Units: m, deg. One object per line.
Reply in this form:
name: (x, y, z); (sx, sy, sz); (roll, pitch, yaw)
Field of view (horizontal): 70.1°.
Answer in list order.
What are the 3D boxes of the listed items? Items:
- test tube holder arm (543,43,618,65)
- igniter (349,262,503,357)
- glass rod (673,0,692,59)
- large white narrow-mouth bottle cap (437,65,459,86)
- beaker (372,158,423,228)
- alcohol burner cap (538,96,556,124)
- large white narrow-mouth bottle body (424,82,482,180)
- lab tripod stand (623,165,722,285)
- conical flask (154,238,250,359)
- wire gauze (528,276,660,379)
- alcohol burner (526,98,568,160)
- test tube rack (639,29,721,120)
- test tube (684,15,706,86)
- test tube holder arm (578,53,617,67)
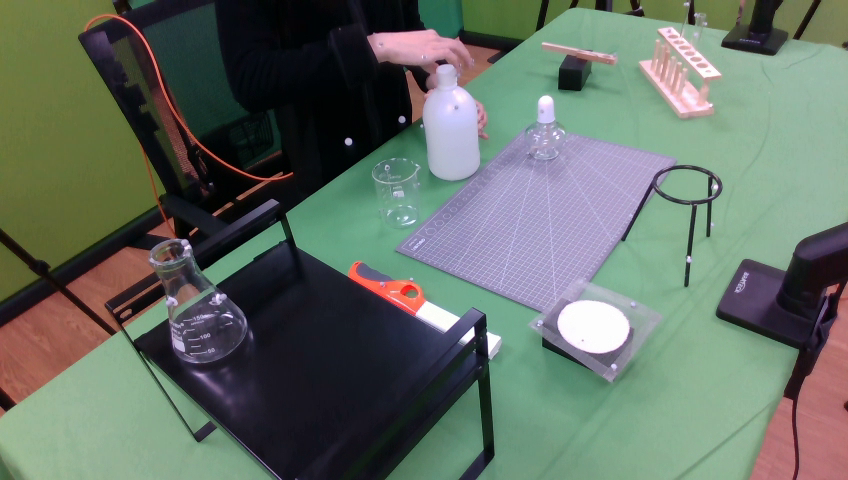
test tube holder arm: (0.345, -0.413, 1.341); (0.177, 0.015, 0.013); (25, 50, 31)
igniter: (-0.008, 0.093, 0.870); (0.274, 0.025, 0.057); (24, 60, 33)
glass rod: (0.537, -0.437, 1.258); (0.008, 0.200, 0.008); (0, 39, 1)
large white narrow-mouth bottle cap: (0.042, -0.280, 1.029); (0.038, 0.024, 0.037); (-4, 41, 4)
beaker: (-0.039, -0.079, 1.022); (0.084, 0.101, 0.073); (-16, 41, -11)
alcohol burner cap: (0.222, -0.237, 1.095); (0.034, 0.048, 0.033); (-7, 34, 5)
large white narrow-mouth bottle body: (0.051, -0.212, 1.091); (0.102, 0.195, 0.101); (-4, 41, 4)
lab tripod stand: (0.365, -0.030, 0.874); (0.148, 0.132, 0.147); (-6, 41, 6)
conical flask: (-0.225, 0.055, 0.597); (0.075, 0.122, 0.075); (-5, 41, 4)
wire gauze: (0.214, 0.103, 0.763); (0.124, 0.011, 0.122); (30, 52, 35)
alcohol burner: (0.228, -0.210, 1.118); (0.078, 0.119, 0.077); (-5, 43, 5)
test tube rack: (0.527, -0.351, 1.262); (0.067, 0.085, 0.241); (-8, 40, 1)
test tube: (0.541, -0.378, 1.215); (0.017, 0.151, 0.017); (-2, 44, 3)
test tube holder arm: (0.376, -0.393, 1.314); (0.087, 0.015, 0.010); (26, 51, 32)
